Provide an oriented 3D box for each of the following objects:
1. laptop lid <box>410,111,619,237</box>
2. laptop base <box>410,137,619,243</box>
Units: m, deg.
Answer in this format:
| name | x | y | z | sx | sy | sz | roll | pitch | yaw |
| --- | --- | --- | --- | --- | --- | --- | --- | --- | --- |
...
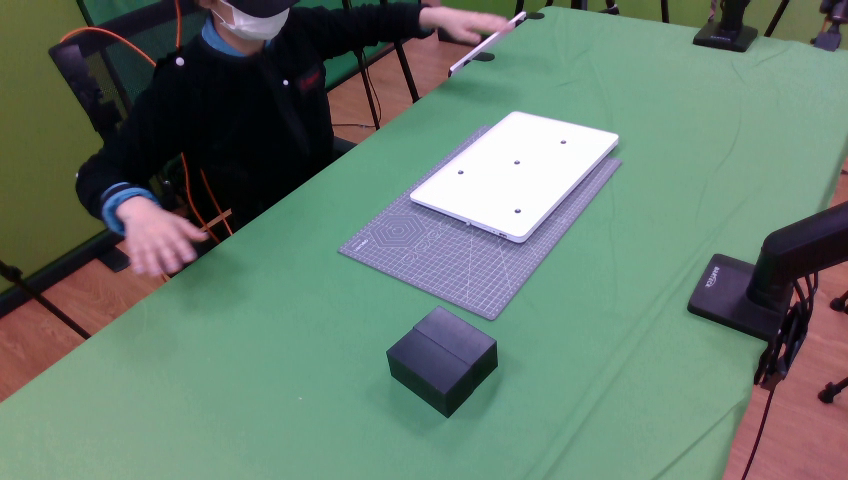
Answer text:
| name | x | y | z | sx | sy | sz | roll | pitch | yaw |
| --- | --- | --- | --- | --- | --- | --- | --- | --- | --- |
| laptop lid | 0.168 | -0.136 | 1.089 | 0.239 | 0.013 | 0.358 | 23 | 48 | 34 |
| laptop base | 0.171 | -0.126 | 1.096 | 0.233 | 0.023 | 0.355 | 21 | 47 | 33 |
